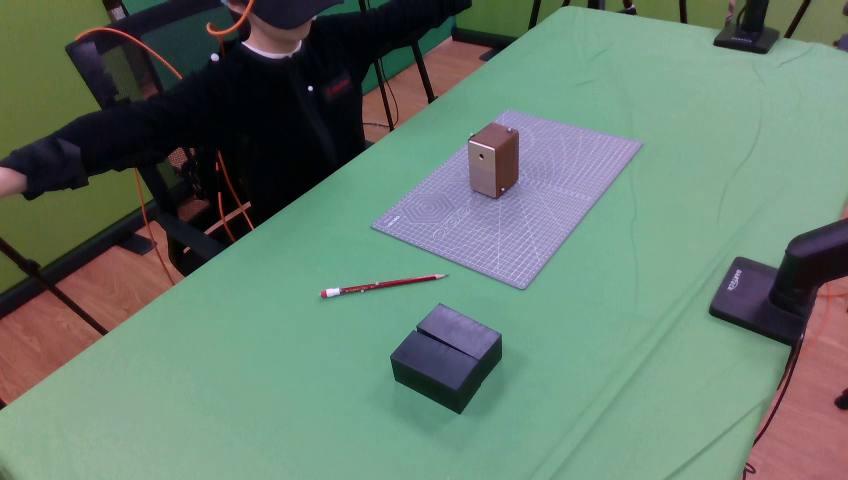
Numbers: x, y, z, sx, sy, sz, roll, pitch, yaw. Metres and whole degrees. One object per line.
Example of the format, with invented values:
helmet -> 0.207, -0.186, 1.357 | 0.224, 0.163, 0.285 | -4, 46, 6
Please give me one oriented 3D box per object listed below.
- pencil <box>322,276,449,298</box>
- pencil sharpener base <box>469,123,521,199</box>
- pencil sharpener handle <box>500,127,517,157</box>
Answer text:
pencil -> -0.058, 0.069, 0.916 | 0.194, 0.012, 0.012 | -8, 40, -3
pencil sharpener base -> 0.126, -0.138, 1.050 | 0.061, 0.107, 0.077 | 24, 50, 33
pencil sharpener handle -> 0.154, -0.178, 1.072 | 0.036, 0.068, 0.031 | 36, 55, 20
